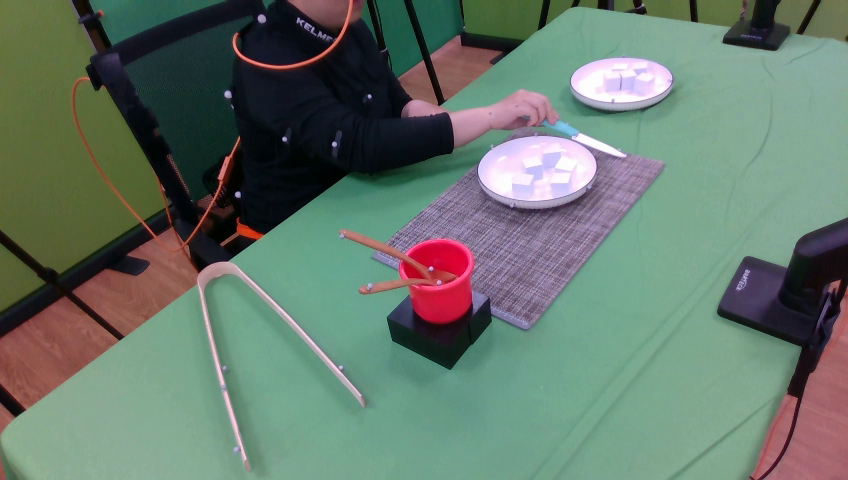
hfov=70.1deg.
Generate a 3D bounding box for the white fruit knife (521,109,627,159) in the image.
[{"bbox_3d":[0.278,-0.195,1.115,0.207,0.016,0.027,26,58,7],"label":"white fruit knife"}]

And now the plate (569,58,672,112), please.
[{"bbox_3d":[0.411,-0.323,1.274,0.209,0.038,0.208,-5,41,5],"label":"plate"}]

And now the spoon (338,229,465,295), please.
[{"bbox_3d":[-0.025,0.026,0.776,0.021,0.195,0.041,-41,34,31],"label":"spoon"}]

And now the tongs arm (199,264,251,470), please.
[{"bbox_3d":[-0.269,0.154,0.841,0.051,0.026,0.381,-23,40,-17],"label":"tongs arm"}]

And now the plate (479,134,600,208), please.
[{"bbox_3d":[0.202,-0.117,1.065,0.207,0.039,0.206,-5,40,5],"label":"plate"}]

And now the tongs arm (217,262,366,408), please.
[{"bbox_3d":[-0.200,0.123,0.871,0.028,0.028,0.384,-35,46,-25],"label":"tongs arm"}]

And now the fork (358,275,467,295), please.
[{"bbox_3d":[-0.009,0.056,0.739,0.028,0.018,0.209,48,22,26],"label":"fork"}]
